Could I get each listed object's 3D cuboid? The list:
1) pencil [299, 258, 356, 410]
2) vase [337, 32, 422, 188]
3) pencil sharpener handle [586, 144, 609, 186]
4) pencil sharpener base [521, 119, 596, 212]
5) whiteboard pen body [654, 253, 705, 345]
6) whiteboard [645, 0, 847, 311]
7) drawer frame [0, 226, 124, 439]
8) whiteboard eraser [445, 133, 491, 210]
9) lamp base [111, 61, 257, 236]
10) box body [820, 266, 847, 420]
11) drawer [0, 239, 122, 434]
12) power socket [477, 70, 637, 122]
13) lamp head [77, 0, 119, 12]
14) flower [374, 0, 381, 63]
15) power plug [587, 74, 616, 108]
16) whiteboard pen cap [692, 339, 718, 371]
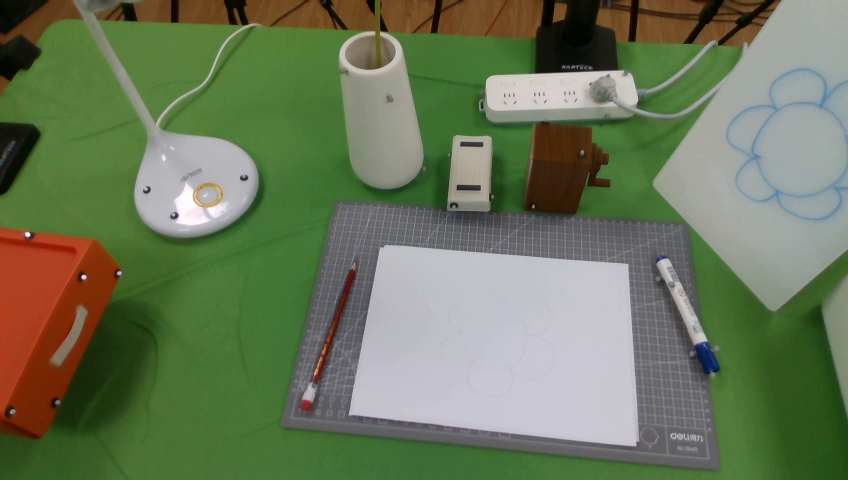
[{"bbox_3d":[-0.106,0.101,0.694,0.012,0.012,0.192,10,58,9],"label":"pencil"},{"bbox_3d":[-0.056,-0.153,0.742,0.098,0.202,0.097,-2,57,3],"label":"vase"},{"bbox_3d":[0.214,-0.090,0.731,0.030,0.068,0.035,6,57,6],"label":"pencil sharpener handle"},{"bbox_3d":[0.164,-0.089,0.747,0.076,0.108,0.061,6,58,6],"label":"pencil sharpener base"},{"bbox_3d":[0.292,0.076,0.686,0.017,0.017,0.139,-10,58,-3],"label":"whiteboard pen body"},{"bbox_3d":[0.437,-0.107,0.665,0.144,0.307,0.215,-14,56,-28],"label":"whiteboard"},{"bbox_3d":[-0.466,0.085,0.630,0.213,0.083,0.200,7,59,5],"label":"drawer frame"},{"bbox_3d":[0.059,-0.087,0.789,0.055,0.042,0.111,4,58,3],"label":"whiteboard eraser"},{"bbox_3d":[-0.315,-0.121,0.744,0.178,0.182,0.160,34,65,24],"label":"lamp base"},{"bbox_3d":[0.543,0.171,0.535,0.254,0.162,0.361,3,58,5],"label":"box body"},{"bbox_3d":[-0.460,0.084,0.629,0.211,0.074,0.193,7,59,6],"label":"drawer"},{"bbox_3d":[0.189,-0.205,0.862,0.227,0.033,0.071,-1,59,1],"label":"power socket"},{"bbox_3d":[-0.279,-0.267,0.492,0.123,0.112,0.112,45,63,-16],"label":"lamp head"},{"bbox_3d":[-0.052,-0.211,0.681,0.038,0.365,0.043,-6,39,-9],"label":"flower"},{"bbox_3d":[0.239,-0.194,0.825,0.035,0.053,0.072,8,60,8],"label":"power plug"},{"bbox_3d":[0.301,0.123,0.652,0.018,0.018,0.033,-10,58,-3],"label":"whiteboard pen cap"}]
